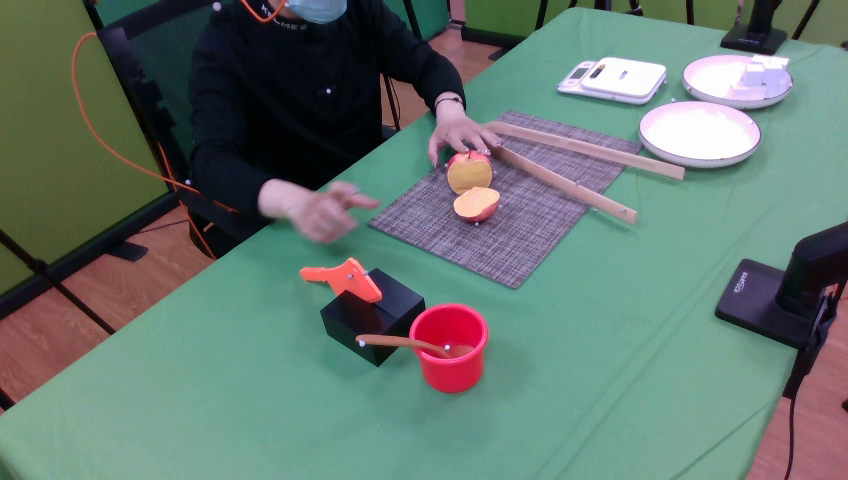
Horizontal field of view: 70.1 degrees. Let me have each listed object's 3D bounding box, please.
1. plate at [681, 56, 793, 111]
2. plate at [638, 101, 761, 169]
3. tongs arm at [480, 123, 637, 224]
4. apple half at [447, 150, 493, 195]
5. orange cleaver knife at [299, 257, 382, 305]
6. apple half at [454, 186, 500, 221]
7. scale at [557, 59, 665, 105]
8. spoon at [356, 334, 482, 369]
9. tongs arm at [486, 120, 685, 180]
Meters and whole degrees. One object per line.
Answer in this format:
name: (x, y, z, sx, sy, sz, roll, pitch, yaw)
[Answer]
plate: (0.636, -0.317, 1.239, 0.207, 0.039, 0.206, -4, 40, 4)
plate: (0.500, -0.189, 1.111, 0.209, 0.038, 0.208, -4, 41, 4)
tongs arm: (0.227, -0.128, 1.080, 0.051, 0.026, 0.381, -33, 46, -26)
apple half: (0.081, -0.123, 1.065, 0.081, 0.075, 0.053, -7, 37, 6)
orange cleaver knife: (-0.124, 0.061, 0.872, 0.012, 0.077, 0.210, -38, 17, -29)
apple half: (0.091, -0.056, 1.015, 0.081, 0.033, 0.081, -16, 36, 13)
scale: (0.407, -0.348, 1.314, 0.199, 0.032, 0.149, 19, 47, 28)
spoon: (-0.001, 0.130, 0.731, 0.195, 0.021, 0.041, 22, 28, -39)
tongs arm: (0.287, -0.171, 1.123, 0.384, 0.028, 0.028, 21, 52, 29)
